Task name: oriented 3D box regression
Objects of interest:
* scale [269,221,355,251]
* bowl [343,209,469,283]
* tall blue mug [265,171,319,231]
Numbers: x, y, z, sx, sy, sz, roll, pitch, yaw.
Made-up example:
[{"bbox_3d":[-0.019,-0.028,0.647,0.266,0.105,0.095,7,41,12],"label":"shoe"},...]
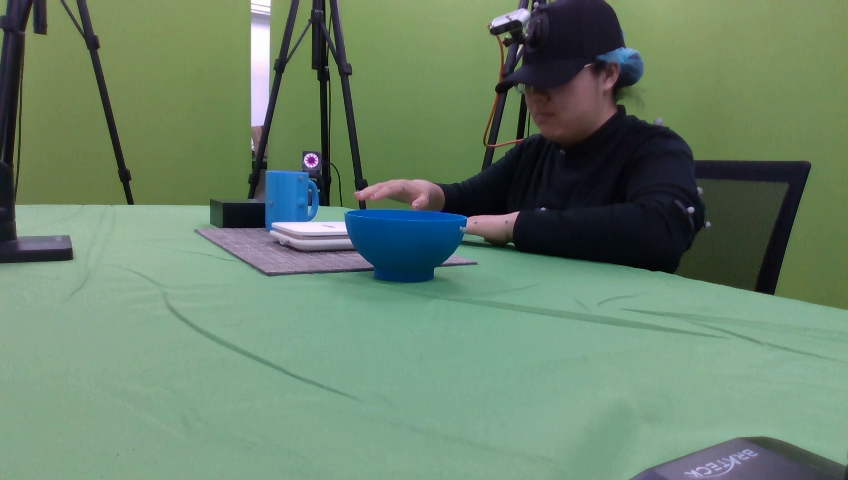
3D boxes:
[{"bbox_3d":[-0.130,-0.008,0.959,0.202,0.031,0.148,-1,9,-32],"label":"scale"},{"bbox_3d":[-0.022,0.007,0.731,0.151,0.077,0.151,3,7,0],"label":"bowl"},{"bbox_3d":[-0.248,-0.073,1.121,0.078,0.108,0.107,3,8,8],"label":"tall blue mug"}]
